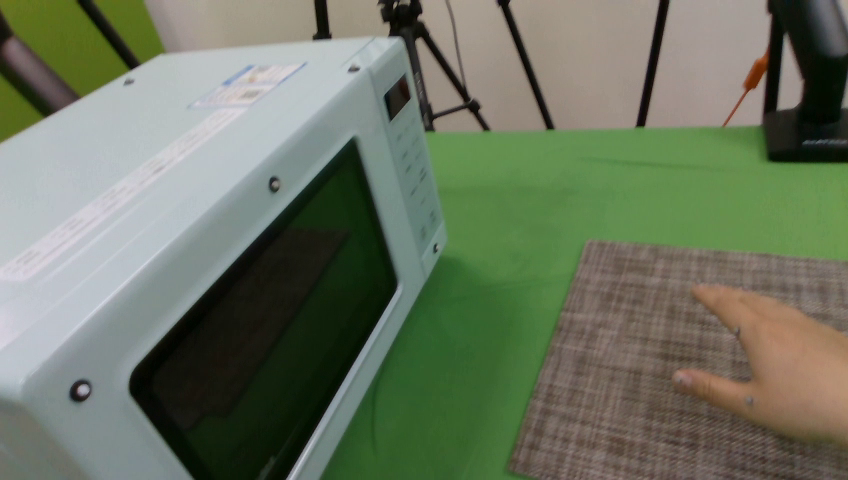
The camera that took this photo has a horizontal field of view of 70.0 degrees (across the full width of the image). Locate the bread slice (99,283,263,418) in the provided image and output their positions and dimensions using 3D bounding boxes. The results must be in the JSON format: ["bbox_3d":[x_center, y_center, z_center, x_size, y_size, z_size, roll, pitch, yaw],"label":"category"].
[{"bbox_3d":[-0.212,0.088,0.543,0.104,0.019,0.131,12,46,30],"label":"bread slice"}]

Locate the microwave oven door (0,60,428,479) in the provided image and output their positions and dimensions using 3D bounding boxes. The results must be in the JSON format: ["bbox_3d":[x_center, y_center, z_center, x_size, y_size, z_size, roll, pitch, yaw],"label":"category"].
[{"bbox_3d":[-0.095,0.050,0.447,0.039,0.246,0.354,3,38,23],"label":"microwave oven door"}]

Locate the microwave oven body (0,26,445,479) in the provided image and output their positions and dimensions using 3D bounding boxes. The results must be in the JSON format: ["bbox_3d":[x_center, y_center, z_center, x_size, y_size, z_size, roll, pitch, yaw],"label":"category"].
[{"bbox_3d":[-0.213,0.021,0.537,0.324,0.263,0.439,4,39,23],"label":"microwave oven body"}]

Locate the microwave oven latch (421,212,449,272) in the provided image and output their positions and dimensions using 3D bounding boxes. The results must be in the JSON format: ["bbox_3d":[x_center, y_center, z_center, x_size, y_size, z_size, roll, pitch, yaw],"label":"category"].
[{"bbox_3d":[0.004,0.002,0.663,0.030,0.030,0.078,5,39,23],"label":"microwave oven latch"}]

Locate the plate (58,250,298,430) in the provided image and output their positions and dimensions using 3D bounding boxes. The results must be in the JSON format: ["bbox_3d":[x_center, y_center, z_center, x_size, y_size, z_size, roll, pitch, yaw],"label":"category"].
[{"bbox_3d":[-0.209,0.085,0.538,0.209,0.038,0.207,-10,35,7],"label":"plate"}]
